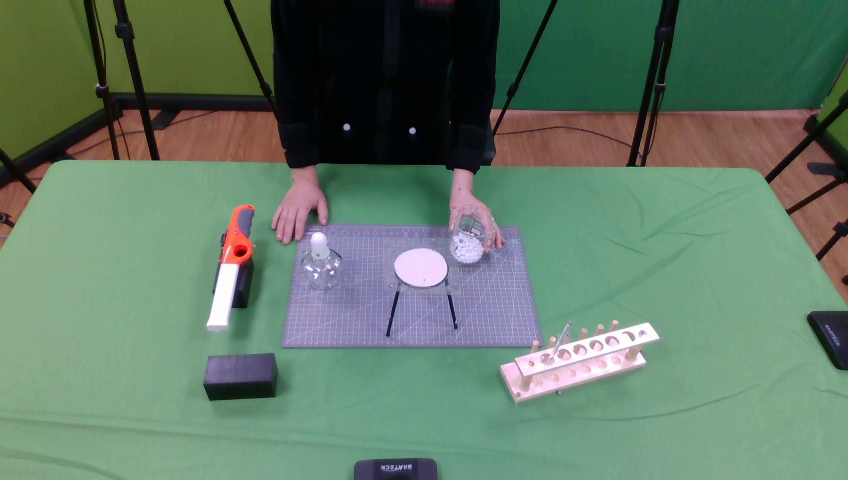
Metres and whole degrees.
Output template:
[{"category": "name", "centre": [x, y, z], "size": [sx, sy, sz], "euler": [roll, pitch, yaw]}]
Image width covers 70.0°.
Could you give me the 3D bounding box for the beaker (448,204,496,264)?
[{"category": "beaker", "centre": [0.087, -0.007, 1.135], "size": [0.084, 0.101, 0.073], "euler": [18, 54, 5]}]

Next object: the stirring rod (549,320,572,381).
[{"category": "stirring rod", "centre": [0.202, 0.167, 0.901], "size": [0.006, 0.177, 0.014], "euler": [-16, 54, -10]}]

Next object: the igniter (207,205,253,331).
[{"category": "igniter", "centre": [-0.339, 0.038, 1.066], "size": [0.057, 0.025, 0.274], "euler": [2, 48, -7]}]

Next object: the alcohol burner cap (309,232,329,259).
[{"category": "alcohol burner cap", "centre": [-0.186, 0.008, 1.058], "size": [0.034, 0.048, 0.033], "euler": [0, 43, 0]}]

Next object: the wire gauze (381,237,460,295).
[{"category": "wire gauze", "centre": [-0.008, 0.040, 0.984], "size": [0.125, 0.011, 0.120], "euler": [0, 44, -4]}]

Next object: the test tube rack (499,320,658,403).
[{"category": "test tube rack", "centre": [0.252, 0.187, 0.994], "size": [0.243, 0.085, 0.066], "euler": [-12, 48, -15]}]

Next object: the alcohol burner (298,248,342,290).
[{"category": "alcohol burner", "centre": [-0.187, 0.032, 1.084], "size": [0.078, 0.120, 0.077], "euler": [1, 46, -1]}]

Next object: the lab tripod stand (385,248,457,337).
[{"category": "lab tripod stand", "centre": [-0.010, 0.087, 1.032], "size": [0.148, 0.132, 0.147], "euler": [1, 45, -1]}]
